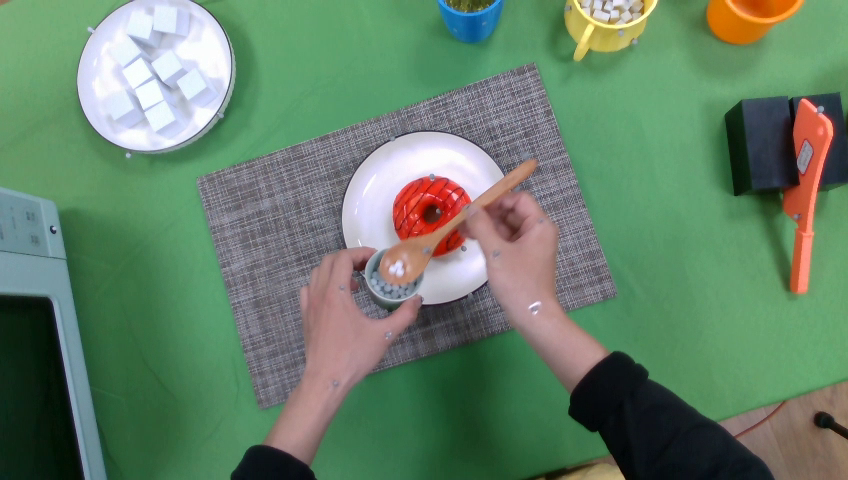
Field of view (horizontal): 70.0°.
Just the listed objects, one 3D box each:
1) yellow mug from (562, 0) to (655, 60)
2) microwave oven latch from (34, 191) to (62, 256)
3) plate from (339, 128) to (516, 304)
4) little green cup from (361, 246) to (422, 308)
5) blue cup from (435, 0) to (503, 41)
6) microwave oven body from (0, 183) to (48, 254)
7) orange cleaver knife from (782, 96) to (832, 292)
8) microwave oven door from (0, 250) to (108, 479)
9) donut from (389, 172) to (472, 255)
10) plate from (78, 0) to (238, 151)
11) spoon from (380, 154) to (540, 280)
[{"bbox_3d":[0.209,-0.270,0.712,0.099,0.064,0.131,30,89,8],"label":"yellow mug"},{"bbox_3d":[-0.475,-0.019,0.752,0.030,0.029,0.079,-13,84,4],"label":"microwave oven latch"},{"bbox_3d":[0.004,-0.028,0.719,0.209,0.038,0.208,-1,84,6],"label":"plate"},{"bbox_3d":[-0.035,0.040,0.627,0.061,0.039,0.061,4,60,-6],"label":"little green cup"},{"bbox_3d":[0.054,-0.282,0.711,0.092,0.100,0.092,0,85,5],"label":"blue cup"},{"bbox_3d":[-0.583,0.179,0.646,0.326,0.261,0.440,-15,83,4],"label":"microwave oven body"},{"bbox_3d":[0.409,-0.047,0.660,0.012,0.077,0.213,-3,113,8],"label":"orange cleaver knife"},{"bbox_3d":[-0.433,0.181,0.625,0.039,0.244,0.354,-16,82,4],"label":"microwave oven door"},{"bbox_3d":[0.008,-0.031,0.707,0.099,0.048,0.099,-1,85,7],"label":"donut"},{"bbox_3d":[-0.335,-0.212,0.776,0.207,0.039,0.207,-1,84,6],"label":"plate"},{"bbox_3d":[0.031,-0.020,0.573,0.194,0.022,0.041,-36,81,28],"label":"spoon"}]
